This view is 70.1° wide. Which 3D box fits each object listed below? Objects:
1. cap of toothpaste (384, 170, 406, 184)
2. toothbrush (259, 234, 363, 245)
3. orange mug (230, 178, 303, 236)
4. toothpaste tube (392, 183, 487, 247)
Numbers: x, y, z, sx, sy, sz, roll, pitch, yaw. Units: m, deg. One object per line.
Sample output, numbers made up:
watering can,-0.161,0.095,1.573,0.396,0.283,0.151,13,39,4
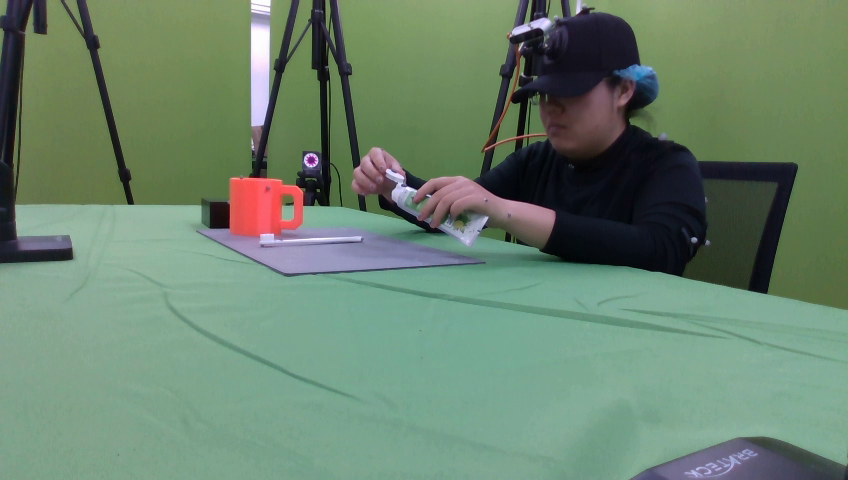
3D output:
cap of toothpaste,-0.046,-0.099,0.950,0.037,0.011,0.037,22,22,-9
toothbrush,-0.175,-0.002,0.958,0.183,0.016,0.014,-1,-3,-39
orange mug,-0.275,-0.060,1.058,0.126,0.101,0.083,-2,8,-5
toothpaste tube,0.017,-0.046,0.913,0.164,0.055,0.035,29,-2,29
